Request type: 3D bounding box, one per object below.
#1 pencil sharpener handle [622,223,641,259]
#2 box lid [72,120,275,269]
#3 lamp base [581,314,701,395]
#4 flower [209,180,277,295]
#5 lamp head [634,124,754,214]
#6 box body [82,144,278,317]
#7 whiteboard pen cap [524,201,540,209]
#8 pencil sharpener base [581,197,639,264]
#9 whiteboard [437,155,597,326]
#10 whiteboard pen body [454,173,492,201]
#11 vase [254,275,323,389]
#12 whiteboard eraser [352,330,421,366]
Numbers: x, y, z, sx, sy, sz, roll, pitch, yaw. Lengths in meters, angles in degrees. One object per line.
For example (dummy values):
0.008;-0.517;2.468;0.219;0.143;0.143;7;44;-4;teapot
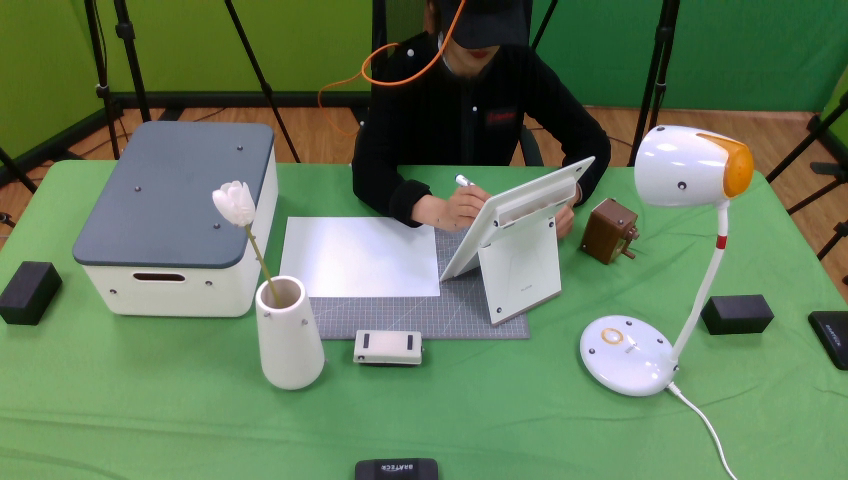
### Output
0.397;0.003;1.146;0.030;0.068;0.036;37;45;27;pencil sharpener handle
-0.417;-0.094;1.056;0.263;0.015;0.369;1;47;-3;box lid
0.361;0.145;0.973;0.178;0.181;0.160;34;53;23;lamp base
-0.217;0.075;0.871;0.044;0.363;0.038;-29;36;-19;flower
0.351;-0.089;0.776;0.112;0.113;0.122;-30;30;-28;lamp head
-0.421;-0.041;1.108;0.254;0.161;0.361;2;46;-3;box body
0.229;-0.074;1.289;0.033;0.018;0.018;5;46;3;whiteboard pen cap
0.362;-0.017;1.179;0.076;0.107;0.061;37;54;27;pencil sharpener base
0.180;0.024;1.029;0.217;0.306;0.143;-21;70;-23;whiteboard
0.100;-0.079;1.047;0.017;0.017;0.140;-27;47;-26;whiteboard pen body
-0.209;0.143;0.921;0.098;0.201;0.097;1;46;-1;vase
-0.060;0.180;1.005;0.113;0.042;0.055;3;48;-2;whiteboard eraser
